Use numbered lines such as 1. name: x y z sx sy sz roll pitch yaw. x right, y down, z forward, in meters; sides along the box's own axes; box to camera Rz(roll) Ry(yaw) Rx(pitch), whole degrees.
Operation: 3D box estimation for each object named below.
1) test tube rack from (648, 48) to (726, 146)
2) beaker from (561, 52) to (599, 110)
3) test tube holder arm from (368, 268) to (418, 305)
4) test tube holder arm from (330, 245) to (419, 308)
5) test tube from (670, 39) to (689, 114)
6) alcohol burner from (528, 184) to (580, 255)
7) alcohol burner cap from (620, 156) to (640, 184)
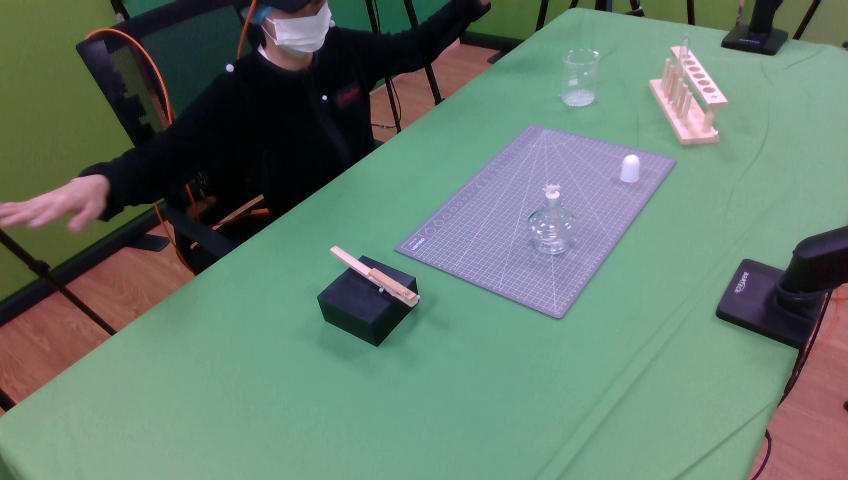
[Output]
1. test tube rack: 0.509 -0.285 1.186 0.067 0.085 0.241 -4 40 6
2. beaker: 0.325 -0.331 1.260 0.084 0.101 0.073 -20 42 -15
3. test tube holder arm: -0.043 0.063 0.827 0.015 0.010 0.087 -37 47 -29
4. test tube holder arm: -0.074 0.049 0.857 0.177 0.013 0.015 30 53 36
5. test tube: 0.484 -0.308 1.146 0.017 0.151 0.017 -5 41 5
6. alcohol burner: 0.196 -0.035 0.911 0.078 0.119 0.077 -6 41 5
7. alcohol burner cap: 0.358 -0.124 1.047 0.034 0.048 0.033 -4 40 4
